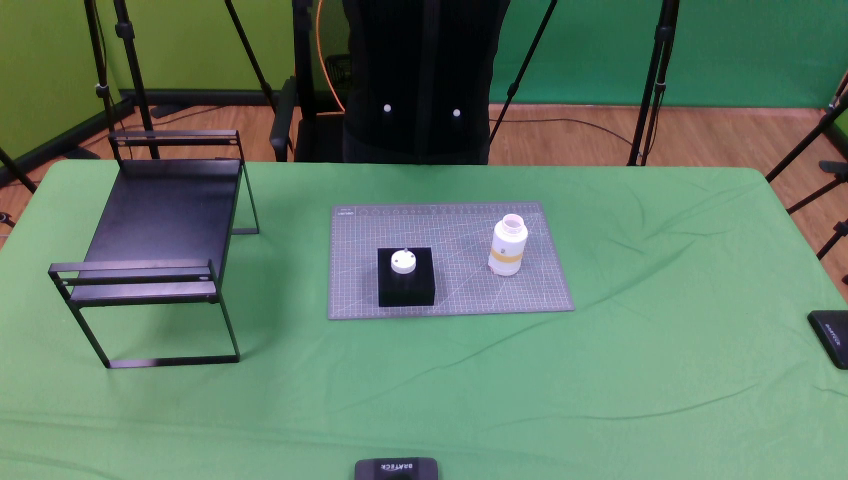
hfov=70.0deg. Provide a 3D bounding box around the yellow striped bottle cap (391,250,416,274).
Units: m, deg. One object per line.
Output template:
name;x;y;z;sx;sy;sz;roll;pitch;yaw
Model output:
yellow striped bottle cap;-0.037;0.039;1.087;0.044;0.019;0.044;2;44;-1

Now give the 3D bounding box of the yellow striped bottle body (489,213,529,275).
yellow striped bottle body;0.159;0.005;1.130;0.063;0.121;0.062;2;46;-2
